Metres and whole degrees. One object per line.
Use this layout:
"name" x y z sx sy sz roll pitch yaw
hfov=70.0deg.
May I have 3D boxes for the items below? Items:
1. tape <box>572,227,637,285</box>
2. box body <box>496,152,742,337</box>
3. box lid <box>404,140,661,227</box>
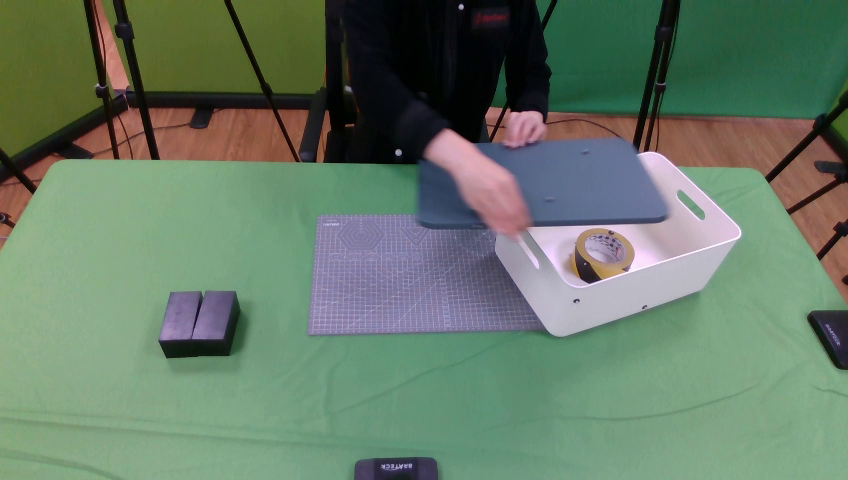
"tape" 0.344 0.032 1.158 0.117 0.053 0.116 2 46 -2
"box body" 0.340 0.004 1.118 0.364 0.161 0.252 -15 49 -18
"box lid" 0.156 -0.096 0.954 0.371 0.015 0.262 -1 33 2
